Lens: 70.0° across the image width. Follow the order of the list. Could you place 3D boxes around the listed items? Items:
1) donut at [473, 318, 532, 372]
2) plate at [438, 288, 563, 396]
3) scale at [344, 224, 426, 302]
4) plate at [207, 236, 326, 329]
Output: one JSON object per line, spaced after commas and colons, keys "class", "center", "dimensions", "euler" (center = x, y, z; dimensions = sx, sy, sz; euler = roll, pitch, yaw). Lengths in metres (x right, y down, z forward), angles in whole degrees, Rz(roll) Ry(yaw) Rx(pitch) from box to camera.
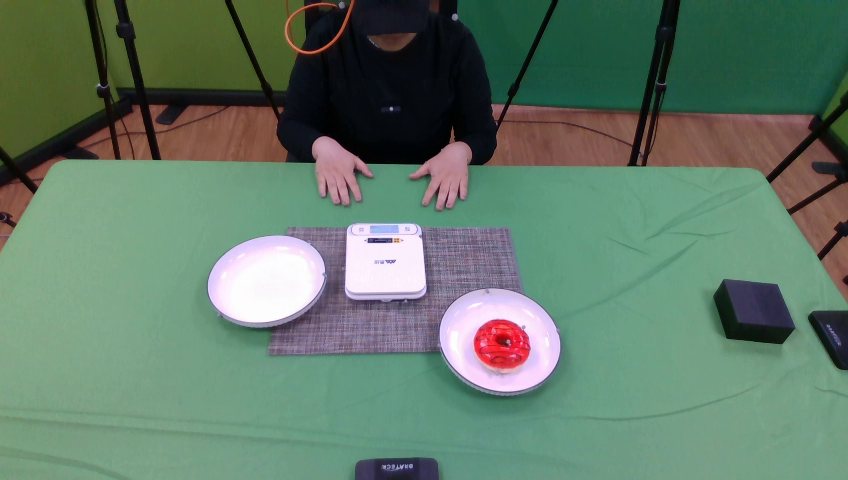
{"class": "donut", "center": [0.131, 0.174, 1.010], "dimensions": [0.099, 0.048, 0.098], "euler": [1, 48, -1]}
{"class": "plate", "center": [0.127, 0.173, 1.025], "dimensions": [0.209, 0.038, 0.208], "euler": [3, 48, -3]}
{"class": "scale", "center": [-0.075, 0.033, 1.149], "dimensions": [0.149, 0.032, 0.199], "euler": [0, 45, -5]}
{"class": "plate", "center": [-0.278, 0.078, 1.088], "dimensions": [0.208, 0.039, 0.206], "euler": [1, 46, 0]}
